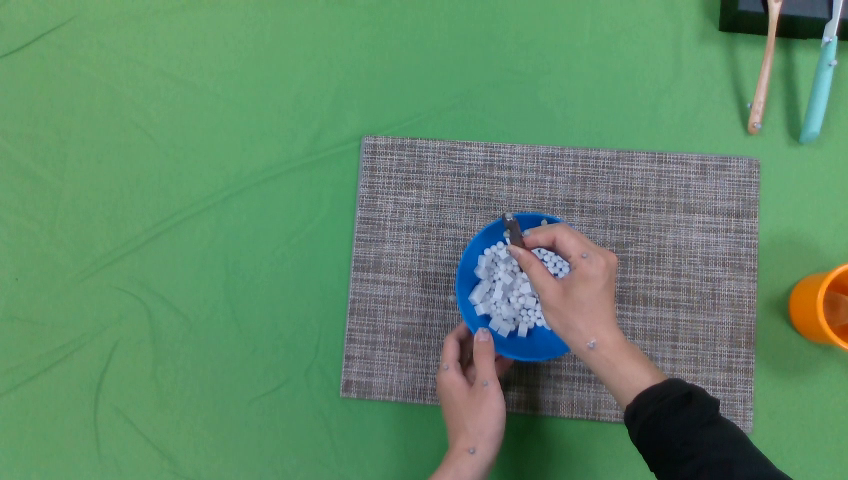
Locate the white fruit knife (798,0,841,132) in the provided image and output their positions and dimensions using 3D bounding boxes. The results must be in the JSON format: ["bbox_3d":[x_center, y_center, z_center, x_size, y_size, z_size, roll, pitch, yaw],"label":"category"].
[{"bbox_3d":[0.432,-0.220,0.648,0.016,0.027,0.208,5,101,1],"label":"white fruit knife"}]

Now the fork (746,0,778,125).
[{"bbox_3d":[0.371,-0.229,0.653,0.028,0.018,0.208,2,105,1],"label":"fork"}]

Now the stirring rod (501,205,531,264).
[{"bbox_3d":[0.090,-0.001,0.580,0.014,0.177,0.006,18,79,18],"label":"stirring rod"}]

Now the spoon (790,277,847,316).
[{"bbox_3d":[0.468,0.061,0.591,0.022,0.192,0.041,9,84,-41],"label":"spoon"}]

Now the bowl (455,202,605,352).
[{"bbox_3d":[0.108,0.040,0.642,0.151,0.077,0.151,0,85,3],"label":"bowl"}]
